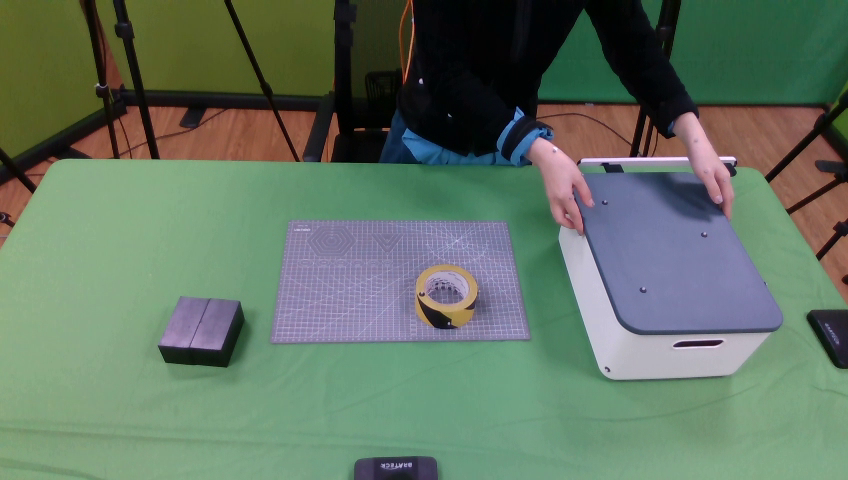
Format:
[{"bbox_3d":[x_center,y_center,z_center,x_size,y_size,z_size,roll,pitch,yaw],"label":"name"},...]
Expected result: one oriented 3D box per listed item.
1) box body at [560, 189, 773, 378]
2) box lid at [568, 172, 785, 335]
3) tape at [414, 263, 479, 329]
[{"bbox_3d":[0.405,0.057,1.074,0.254,0.161,0.361,-2,46,-5],"label":"box body"},{"bbox_3d":[0.407,0.007,1.019,0.263,0.015,0.369,-1,46,-5],"label":"box lid"},{"bbox_3d":[0.038,0.099,1.079,0.117,0.053,0.116,3,46,-2],"label":"tape"}]
